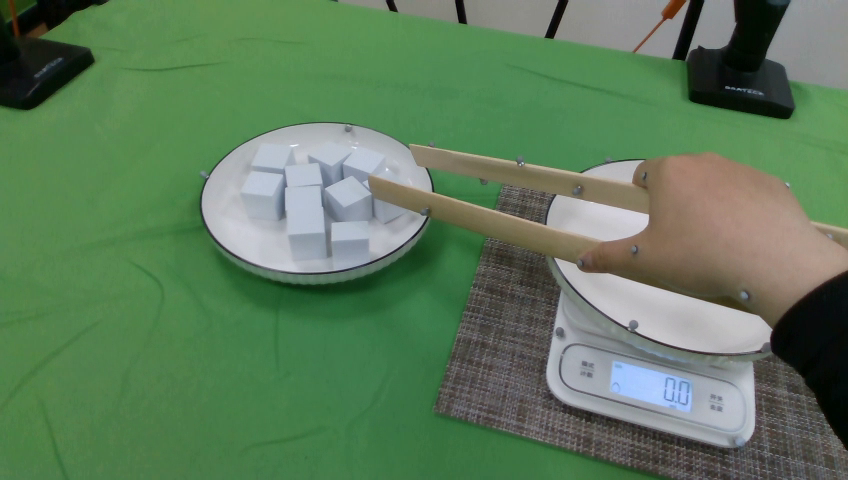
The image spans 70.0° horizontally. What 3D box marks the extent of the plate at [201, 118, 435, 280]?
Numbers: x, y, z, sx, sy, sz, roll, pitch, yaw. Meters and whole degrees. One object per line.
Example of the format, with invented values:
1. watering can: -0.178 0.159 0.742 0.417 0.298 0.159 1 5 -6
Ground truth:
1. plate: -0.094 -0.038 0.561 0.209 0.038 0.207 2 46 -2

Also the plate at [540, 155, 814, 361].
1. plate: 0.193 0.012 0.485 0.208 0.039 0.205 3 47 -2

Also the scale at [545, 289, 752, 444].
1. scale: 0.185 0.054 0.490 0.148 0.032 0.199 14 48 10

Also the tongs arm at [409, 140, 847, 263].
1. tongs arm: 0.127 -0.024 0.426 0.381 0.027 0.050 16 48 35

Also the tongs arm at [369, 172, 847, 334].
1. tongs arm: 0.105 -0.003 0.409 0.384 0.028 0.028 17 45 36
